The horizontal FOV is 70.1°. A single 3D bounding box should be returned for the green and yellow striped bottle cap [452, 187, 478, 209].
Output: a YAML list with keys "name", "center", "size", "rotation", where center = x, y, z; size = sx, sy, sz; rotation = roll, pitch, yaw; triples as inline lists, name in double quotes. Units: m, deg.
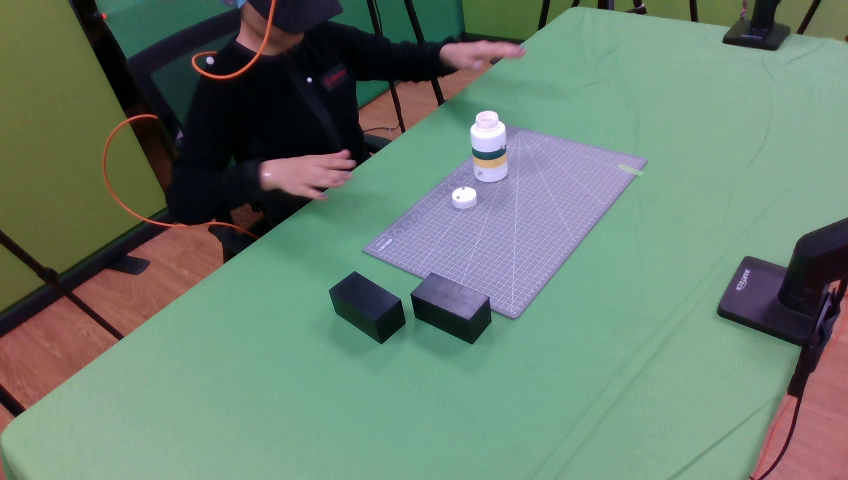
- name: "green and yellow striped bottle cap"
  center: [0.072, -0.074, 1.057]
  size: [0.045, 0.020, 0.045]
  rotation: [-6, 39, 6]

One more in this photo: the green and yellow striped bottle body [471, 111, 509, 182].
- name: "green and yellow striped bottle body"
  center: [0.117, -0.169, 1.079]
  size: [0.063, 0.120, 0.063]
  rotation: [-6, 40, 5]
